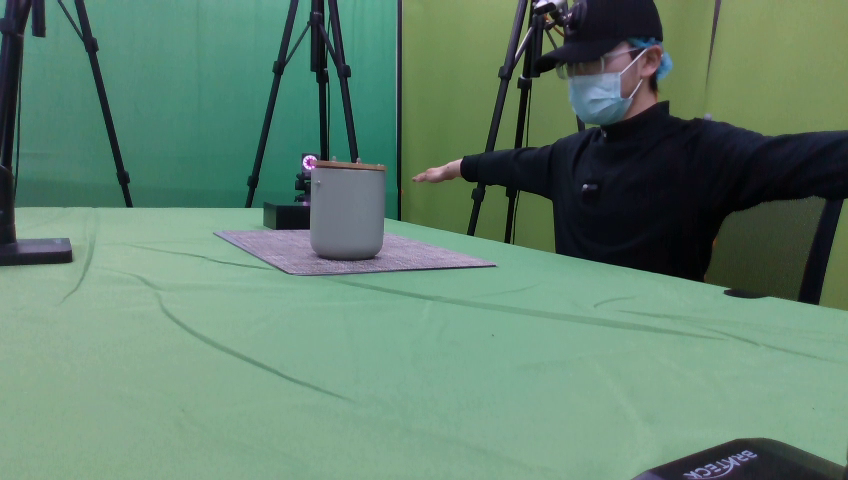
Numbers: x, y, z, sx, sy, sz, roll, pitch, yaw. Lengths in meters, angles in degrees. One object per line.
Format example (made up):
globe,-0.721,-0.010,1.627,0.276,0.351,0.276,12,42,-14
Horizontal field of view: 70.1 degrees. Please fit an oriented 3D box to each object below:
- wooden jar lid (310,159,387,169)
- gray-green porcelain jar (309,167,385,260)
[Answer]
wooden jar lid,-0.107,-0.101,0.851,0.108,0.020,0.108,4,6,0
gray-green porcelain jar,-0.109,-0.040,0.859,0.106,0.126,0.106,2,7,0
